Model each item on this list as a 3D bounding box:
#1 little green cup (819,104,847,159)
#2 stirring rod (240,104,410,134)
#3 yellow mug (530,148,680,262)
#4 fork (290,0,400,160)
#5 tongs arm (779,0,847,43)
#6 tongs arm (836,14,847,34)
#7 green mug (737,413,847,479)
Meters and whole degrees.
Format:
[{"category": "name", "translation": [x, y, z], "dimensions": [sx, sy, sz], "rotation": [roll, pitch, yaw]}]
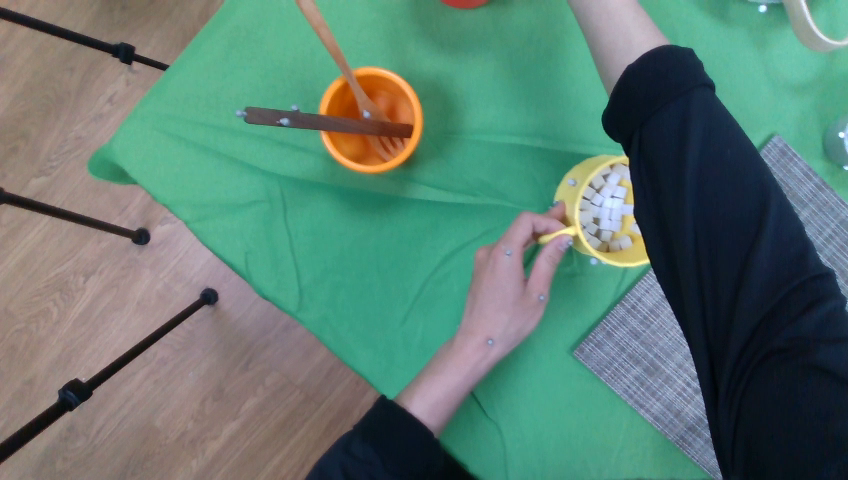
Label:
[{"category": "little green cup", "translation": [0.427, -0.107, 0.597], "dimensions": [0.061, 0.038, 0.061], "rotation": [0, 96, 0]}, {"category": "stirring rod", "translation": [-0.079, -0.105, 0.533], "dimensions": [0.177, 0.006, 0.014], "rotation": [-5, 100, -43]}, {"category": "yellow mug", "translation": [0.160, -0.028, 0.560], "dimensions": [0.131, 0.064, 0.100], "rotation": [-23, 98, -1]}, {"category": "fork", "translation": [-0.071, -0.146, 0.523], "dimensions": [0.028, 0.018, 0.209], "rotation": [-33, 139, 0]}, {"category": "tongs arm", "translation": [0.288, -0.356, 0.535], "dimensions": [0.051, 0.026, 0.385], "rotation": [-20, 94, -2]}, {"category": "tongs arm", "translation": [0.369, -0.378, 0.535], "dimensions": [0.028, 0.027, 0.388], "rotation": [-6, 94, -6]}, {"category": "green mug", "translation": [0.388, 0.219, 0.594], "dimensions": [0.125, 0.105, 0.092], "rotation": [-32, 95, 2]}]
